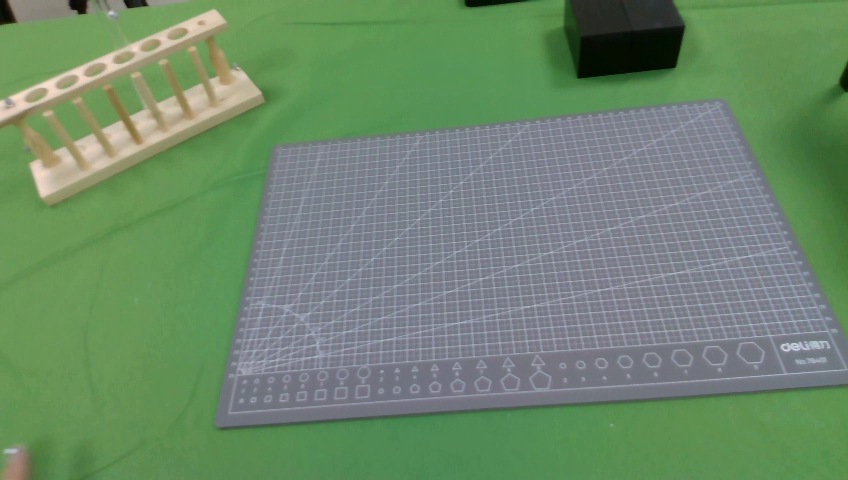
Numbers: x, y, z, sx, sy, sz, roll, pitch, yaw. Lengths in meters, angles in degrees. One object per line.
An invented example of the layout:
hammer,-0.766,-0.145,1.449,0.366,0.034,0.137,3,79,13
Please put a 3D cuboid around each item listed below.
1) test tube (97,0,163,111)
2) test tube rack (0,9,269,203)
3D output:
test tube,-0.294,-0.193,0.602,0.017,0.152,0.017,-3,47,3
test tube rack,-0.295,-0.142,0.626,0.242,0.086,0.066,-30,54,-15
